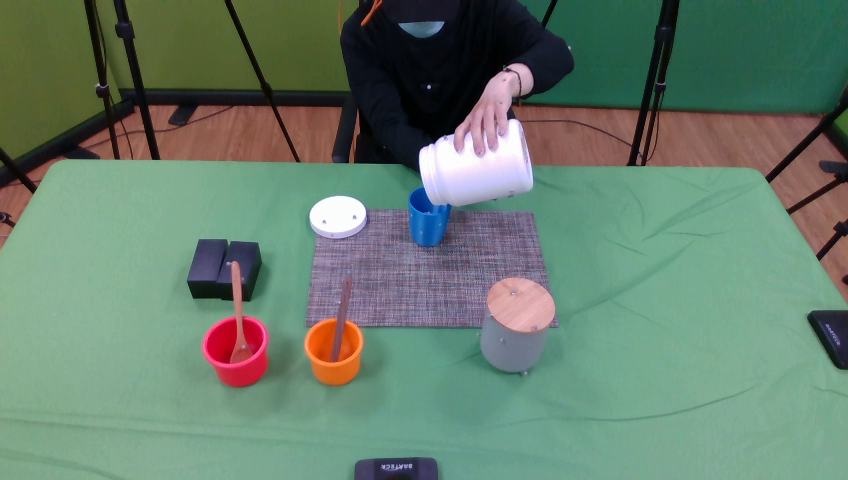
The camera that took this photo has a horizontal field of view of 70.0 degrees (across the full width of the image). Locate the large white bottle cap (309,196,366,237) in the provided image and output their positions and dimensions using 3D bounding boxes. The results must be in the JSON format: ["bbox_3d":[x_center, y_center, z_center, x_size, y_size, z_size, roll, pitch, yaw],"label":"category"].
[{"bbox_3d":[-0.176,-0.049,1.229,0.115,0.018,0.114,0,43,0],"label":"large white bottle cap"}]

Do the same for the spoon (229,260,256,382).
[{"bbox_3d":[-0.294,0.129,0.966,0.042,0.021,0.193,-4,91,-9],"label":"spoon"}]

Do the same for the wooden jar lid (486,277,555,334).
[{"bbox_3d":[0.150,0.105,0.948,0.108,0.021,0.107,3,47,-3],"label":"wooden jar lid"}]

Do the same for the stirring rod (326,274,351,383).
[{"bbox_3d":[-0.137,0.142,0.971,0.014,0.006,0.176,9,89,1],"label":"stirring rod"}]

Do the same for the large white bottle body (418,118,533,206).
[{"bbox_3d":[0.093,-0.134,1.086,0.184,0.131,0.130,-11,44,16],"label":"large white bottle body"}]

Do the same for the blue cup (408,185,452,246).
[{"bbox_3d":[0.008,-0.042,1.177,0.093,0.101,0.092,3,47,-3],"label":"blue cup"}]

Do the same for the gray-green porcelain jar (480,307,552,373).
[{"bbox_3d":[0.148,0.148,0.992,0.106,0.127,0.105,2,46,-2],"label":"gray-green porcelain jar"}]
